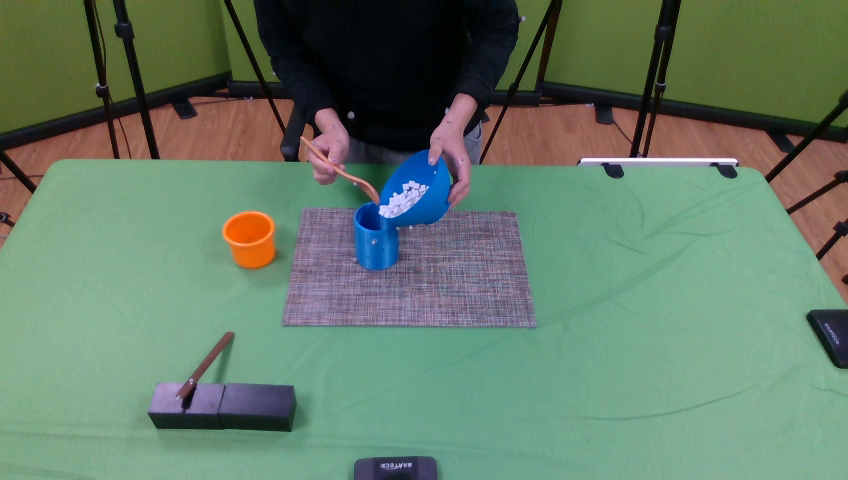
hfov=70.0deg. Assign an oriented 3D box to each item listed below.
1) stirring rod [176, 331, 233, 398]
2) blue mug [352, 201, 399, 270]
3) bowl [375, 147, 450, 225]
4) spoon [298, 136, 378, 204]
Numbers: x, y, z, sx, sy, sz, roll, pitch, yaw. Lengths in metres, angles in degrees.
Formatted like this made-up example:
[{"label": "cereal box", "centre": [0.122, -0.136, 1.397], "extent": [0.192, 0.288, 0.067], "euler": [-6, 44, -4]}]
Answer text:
[{"label": "stirring rod", "centre": [-0.342, 0.192, 0.955], "extent": [0.014, 0.006, 0.175], "euler": [3, 24, 7]}, {"label": "blue mug", "centre": [-0.082, -0.017, 1.144], "extent": [0.082, 0.106, 0.116], "euler": [30, 51, 22]}, {"label": "bowl", "centre": [-0.007, -0.081, 1.074], "extent": [0.151, 0.077, 0.150], "euler": [-30, 39, 29]}, {"label": "spoon", "centre": [-0.155, -0.128, 1.093], "extent": [0.193, 0.042, 0.021], "euler": [36, 75, 7]}]
